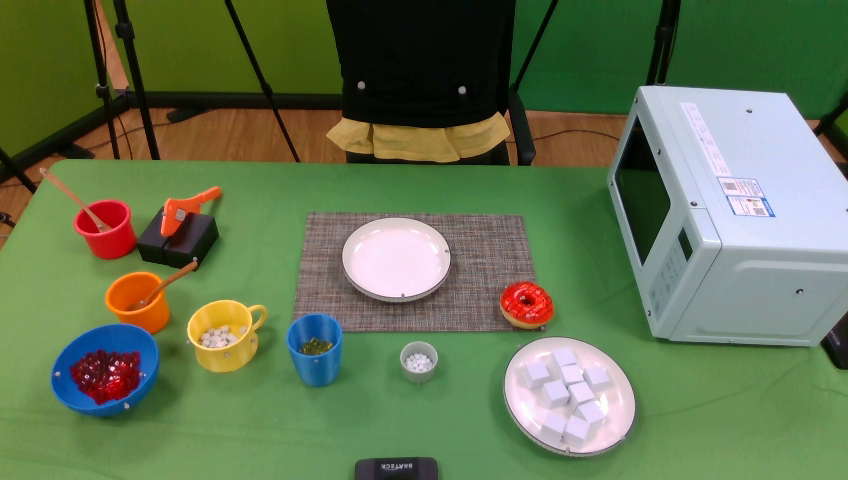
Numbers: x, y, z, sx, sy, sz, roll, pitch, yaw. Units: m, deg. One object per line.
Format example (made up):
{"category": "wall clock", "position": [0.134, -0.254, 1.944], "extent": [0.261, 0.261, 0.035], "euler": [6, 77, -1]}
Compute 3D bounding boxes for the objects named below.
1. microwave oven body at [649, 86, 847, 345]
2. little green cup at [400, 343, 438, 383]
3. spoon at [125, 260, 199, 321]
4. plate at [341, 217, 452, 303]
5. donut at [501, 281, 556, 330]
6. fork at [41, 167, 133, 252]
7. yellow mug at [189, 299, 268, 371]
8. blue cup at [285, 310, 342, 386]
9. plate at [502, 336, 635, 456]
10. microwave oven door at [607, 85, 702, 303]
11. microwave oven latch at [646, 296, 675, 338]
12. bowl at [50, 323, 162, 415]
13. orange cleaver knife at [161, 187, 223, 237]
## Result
{"category": "microwave oven body", "position": [0.568, -0.053, 1.118], "extent": [0.326, 0.261, 0.439], "euler": [2, 45, -1]}
{"category": "little green cup", "position": [-0.010, 0.202, 0.991], "extent": [0.061, 0.039, 0.061], "euler": [2, 47, -2]}
{"category": "spoon", "position": [-0.434, 0.083, 0.999], "extent": [0.022, 0.194, 0.041], "euler": [35, 34, -34]}
{"category": "plate", "position": [-0.052, 0.039, 1.140], "extent": [0.209, 0.038, 0.208], "euler": [2, 46, -2]}
{"category": "donut", "position": [0.185, 0.116, 1.079], "extent": [0.099, 0.048, 0.098], "euler": [3, 45, -3]}
{"category": "fork", "position": [-0.624, -0.056, 1.121], "extent": [0.208, 0.018, 0.028], "euler": [49, 52, -15]}
{"category": "yellow mug", "position": [-0.316, 0.148, 1.002], "extent": [0.131, 0.064, 0.099], "euler": [-32, 56, -31]}
{"category": "blue cup", "position": [-0.170, 0.179, 0.958], "extent": [0.093, 0.101, 0.092], "euler": [2, 44, -1]}
{"category": "plate", "position": [0.225, 0.248, 0.963], "extent": [0.208, 0.039, 0.206], "euler": [2, 46, -2]}
{"category": "microwave oven door", "position": [0.423, -0.094, 1.140], "extent": [0.039, 0.245, 0.353], "euler": [2, 46, -1]}
{"category": "microwave oven latch", "position": [0.412, 0.134, 1.061], "extent": [0.030, 0.029, 0.078], "euler": [4, 45, 1]}
{"category": "bowl", "position": [-0.472, 0.209, 0.924], "extent": [0.151, 0.077, 0.150], "euler": [2, 45, -2]}
{"category": "orange cleaver knife", "position": [-0.449, -0.059, 1.181], "extent": [0.012, 0.077, 0.211], "euler": [14, 17, 6]}
